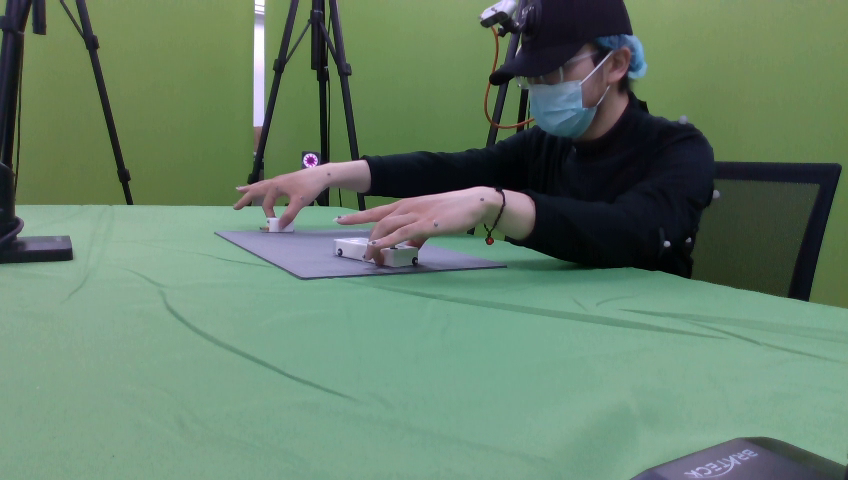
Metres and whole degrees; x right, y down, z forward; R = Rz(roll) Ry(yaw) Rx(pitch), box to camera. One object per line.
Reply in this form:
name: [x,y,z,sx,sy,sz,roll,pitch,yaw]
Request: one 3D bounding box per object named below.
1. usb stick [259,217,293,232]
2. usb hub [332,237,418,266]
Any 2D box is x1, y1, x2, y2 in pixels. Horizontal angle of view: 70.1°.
usb stick: [-0.267,-0.027,1.093,0.059,0.027,0.021,-5,9,-31]
usb hub: [-0.070,0.015,0.834,0.124,0.025,0.050,8,9,42]
